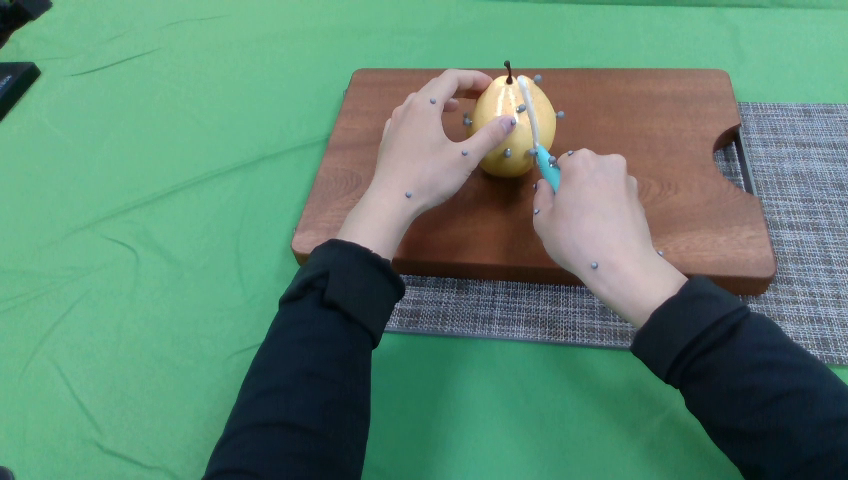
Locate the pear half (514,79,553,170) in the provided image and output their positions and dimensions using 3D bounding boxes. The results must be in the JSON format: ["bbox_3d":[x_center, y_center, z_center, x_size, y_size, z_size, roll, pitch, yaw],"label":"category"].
[{"bbox_3d":[0.098,-0.107,0.543,0.031,0.089,0.069,-18,48,-11],"label":"pear half"}]

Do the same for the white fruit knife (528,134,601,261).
[{"bbox_3d":[0.099,-0.066,0.516,0.016,0.028,0.205,-18,50,-4],"label":"white fruit knife"}]

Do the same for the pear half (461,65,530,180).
[{"bbox_3d":[0.060,-0.103,0.532,0.056,0.111,0.075,-18,47,-8],"label":"pear half"}]
